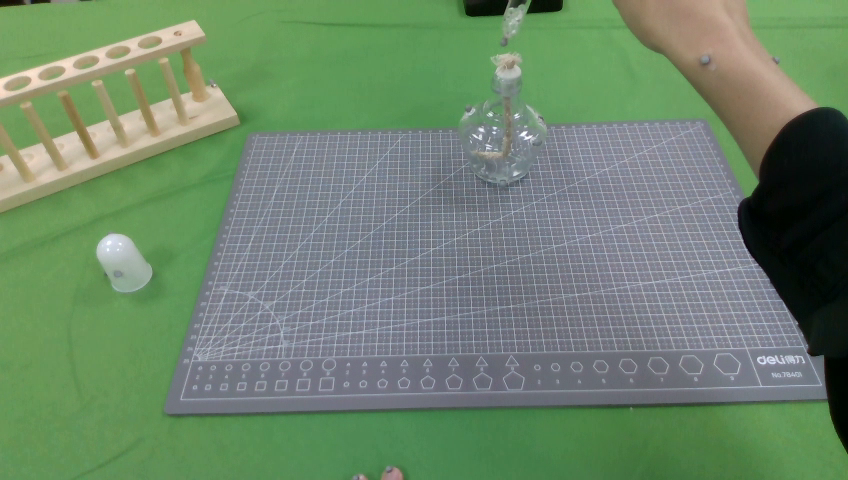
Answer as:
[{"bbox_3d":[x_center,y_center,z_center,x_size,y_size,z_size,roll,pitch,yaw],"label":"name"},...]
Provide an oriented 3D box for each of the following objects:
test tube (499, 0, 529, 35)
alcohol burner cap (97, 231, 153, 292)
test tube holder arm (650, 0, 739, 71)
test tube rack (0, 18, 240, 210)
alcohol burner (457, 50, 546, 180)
[{"bbox_3d":[0.082,-0.209,0.414,0.017,0.151,0.017,10,46,-11],"label":"test tube"},{"bbox_3d":[-0.236,0.014,0.473,0.034,0.048,0.033,-1,48,1],"label":"alcohol burner cap"},{"bbox_3d":[0.132,-0.174,0.386,0.013,0.015,0.177,-30,74,-34],"label":"test tube holder arm"},{"bbox_3d":[-0.308,-0.118,0.562,0.242,0.086,0.066,-26,52,-19],"label":"test tube rack"},{"bbox_3d":[0.067,-0.109,0.516,0.078,0.120,0.077,0,50,1],"label":"alcohol burner"}]
